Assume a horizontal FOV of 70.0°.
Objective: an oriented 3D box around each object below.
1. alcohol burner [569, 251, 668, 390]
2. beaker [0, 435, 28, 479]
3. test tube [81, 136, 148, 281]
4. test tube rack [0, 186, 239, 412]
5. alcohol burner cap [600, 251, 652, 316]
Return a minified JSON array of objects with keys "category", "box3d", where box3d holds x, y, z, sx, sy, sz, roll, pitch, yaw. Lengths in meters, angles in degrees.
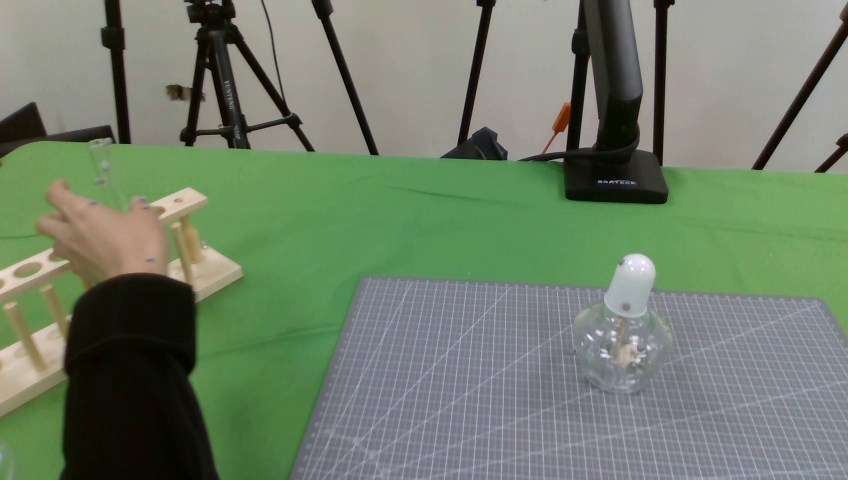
[{"category":"alcohol burner","box3d":[0.155,0.060,0.479,0.078,0.120,0.077,-1,33,1]},{"category":"beaker","box3d":[-0.264,0.175,0.353,0.084,0.101,0.073,-12,36,-12]},{"category":"test tube","box3d":[-0.284,-0.024,0.561,0.017,0.151,0.017,-2,33,2]},{"category":"test tube rack","box3d":[-0.297,0.044,0.552,0.066,0.086,0.242,26,44,33]},{"category":"alcohol burner cap","box3d":[0.155,0.031,0.457,0.034,0.048,0.033,3,36,-2]}]
